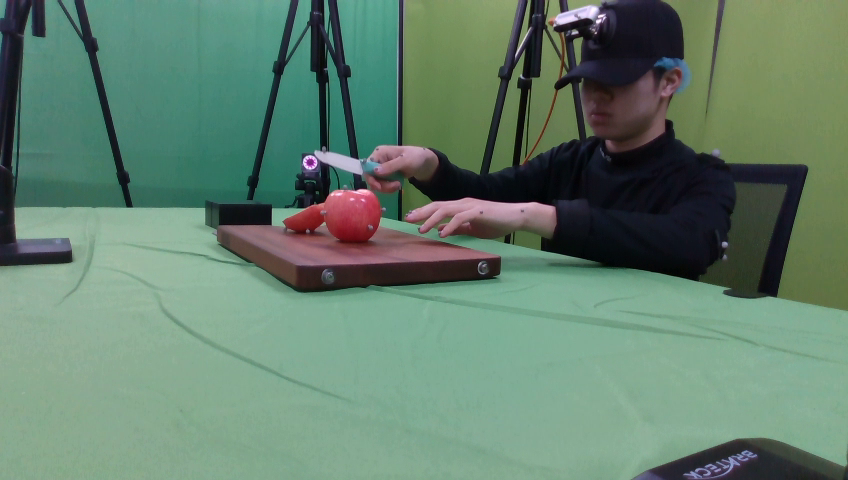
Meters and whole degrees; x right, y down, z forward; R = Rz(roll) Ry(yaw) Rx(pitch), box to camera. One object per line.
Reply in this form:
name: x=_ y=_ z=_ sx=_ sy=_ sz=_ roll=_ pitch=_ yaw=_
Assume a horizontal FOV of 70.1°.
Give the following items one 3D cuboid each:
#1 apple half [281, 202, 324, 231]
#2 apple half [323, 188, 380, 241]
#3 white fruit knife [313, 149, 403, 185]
apple half: x=-0.175 y=-0.033 z=0.927 sx=0.081 sy=0.033 sz=0.081 roll=-21 pitch=0 yaw=1
apple half: x=-0.094 y=-0.034 z=0.840 sx=0.081 sy=0.074 sz=0.053 roll=1 pitch=10 yaw=-38
white fruit knife: x=-0.099 y=-0.118 z=0.959 sx=0.016 sy=0.027 sz=0.208 roll=2 pitch=-4 yaw=36
